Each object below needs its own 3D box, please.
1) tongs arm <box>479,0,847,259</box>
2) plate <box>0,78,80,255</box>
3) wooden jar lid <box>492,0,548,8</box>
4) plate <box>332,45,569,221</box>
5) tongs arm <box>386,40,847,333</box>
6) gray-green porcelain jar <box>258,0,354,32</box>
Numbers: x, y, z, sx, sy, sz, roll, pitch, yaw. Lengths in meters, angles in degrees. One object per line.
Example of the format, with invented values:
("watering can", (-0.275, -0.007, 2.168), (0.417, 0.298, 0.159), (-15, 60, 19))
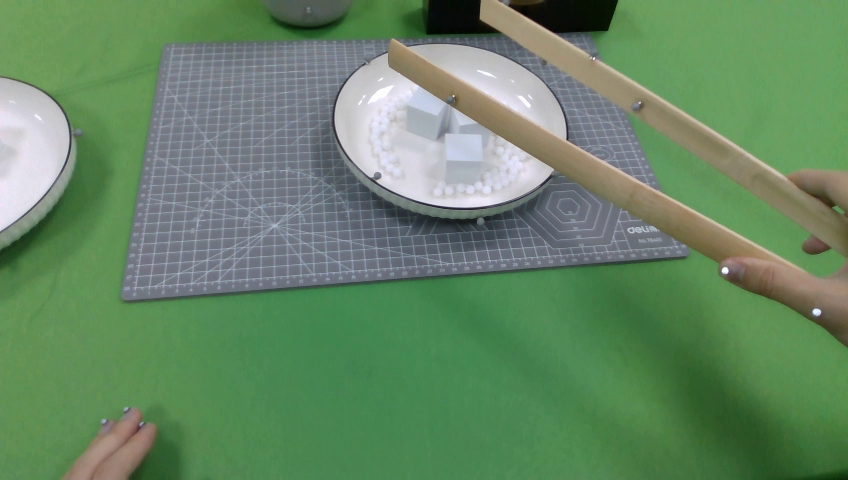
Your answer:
("tongs arm", (0.166, -0.077, 0.433), (0.051, 0.027, 0.381), (-34, 62, -31))
("plate", (-0.382, -0.048, 0.482), (0.208, 0.039, 0.205), (2, 55, -3))
("wooden jar lid", (0.094, -0.278, 0.633), (0.108, 0.021, 0.107), (3, 56, -3))
("plate", (0.023, -0.097, 0.545), (0.209, 0.038, 0.207), (2, 55, -3))
("tongs arm", (0.123, -0.045, 0.403), (0.385, 0.028, 0.028), (34, 50, 20))
("gray-green porcelain jar", (-0.125, -0.290, 0.620), (0.106, 0.127, 0.105), (2, 54, -2))
